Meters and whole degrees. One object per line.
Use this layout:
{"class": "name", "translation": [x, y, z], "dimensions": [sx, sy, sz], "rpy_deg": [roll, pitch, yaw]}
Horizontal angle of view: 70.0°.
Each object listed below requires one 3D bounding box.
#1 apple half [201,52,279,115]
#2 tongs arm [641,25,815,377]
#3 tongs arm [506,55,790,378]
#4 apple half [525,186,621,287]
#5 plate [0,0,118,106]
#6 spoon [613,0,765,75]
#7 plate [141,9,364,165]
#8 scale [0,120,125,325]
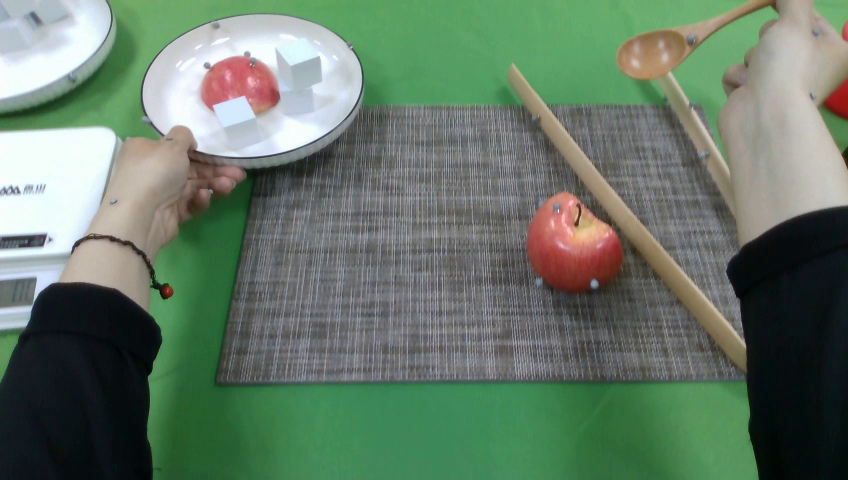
{"class": "apple half", "translation": [-0.181, -0.160, 0.594], "dimensions": [0.081, 0.033, 0.080], "rpy_deg": [1, 53, -1]}
{"class": "tongs arm", "translation": [0.255, -0.062, 0.560], "dimensions": [0.051, 0.027, 0.381], "rpy_deg": [-10, 59, -8]}
{"class": "tongs arm", "translation": [0.176, -0.041, 0.546], "dimensions": [0.028, 0.028, 0.383], "rpy_deg": [-20, 60, -18]}
{"class": "apple half", "translation": [0.112, 0.005, 0.491], "dimensions": [0.053, 0.075, 0.080], "rpy_deg": [-34, 67, -16]}
{"class": "plate", "translation": [-0.433, -0.215, 0.649], "dimensions": [0.208, 0.039, 0.205], "rpy_deg": [0, 58, 0]}
{"class": "spoon", "translation": [0.239, -0.175, 0.456], "dimensions": [0.193, 0.022, 0.041], "rpy_deg": [-22, 70, 20]}
{"class": "plate", "translation": [-0.162, -0.148, 0.593], "dimensions": [0.209, 0.038, 0.207], "rpy_deg": [2, 55, -2]}
{"class": "scale", "translation": [-0.351, -0.021, 0.530], "dimensions": [0.149, 0.032, 0.199], "rpy_deg": [-5, 58, -3]}
